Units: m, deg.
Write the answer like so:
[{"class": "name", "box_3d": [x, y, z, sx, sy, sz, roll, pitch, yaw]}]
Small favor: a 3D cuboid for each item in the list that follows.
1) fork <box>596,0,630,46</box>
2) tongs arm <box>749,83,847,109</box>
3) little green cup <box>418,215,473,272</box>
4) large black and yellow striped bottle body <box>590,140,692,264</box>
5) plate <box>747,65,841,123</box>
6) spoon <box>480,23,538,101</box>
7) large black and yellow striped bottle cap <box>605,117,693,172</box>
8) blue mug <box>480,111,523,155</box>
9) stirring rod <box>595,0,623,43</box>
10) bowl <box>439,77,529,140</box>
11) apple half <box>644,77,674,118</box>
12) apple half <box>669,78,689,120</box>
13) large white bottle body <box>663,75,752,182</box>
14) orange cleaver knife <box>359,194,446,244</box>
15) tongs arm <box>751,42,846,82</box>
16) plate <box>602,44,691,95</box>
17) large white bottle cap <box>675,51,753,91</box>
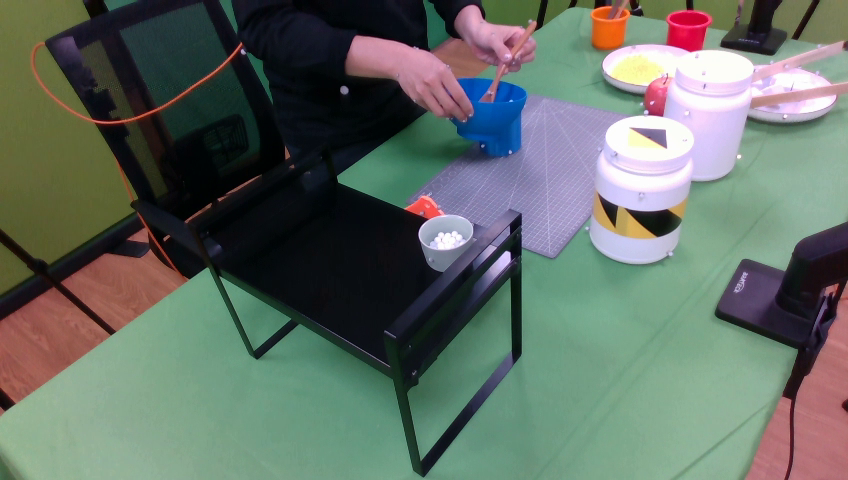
[{"class": "fork", "box_3d": [0.481, -0.556, 1.452, 0.028, 0.019, 0.207, 40, 103, 40]}, {"class": "tongs arm", "box_3d": [0.734, -0.280, 1.133, 0.388, 0.028, 0.028, -9, 47, -5]}, {"class": "little green cup", "box_3d": [0.026, 0.005, 0.678, 0.061, 0.039, 0.061, -4, 40, 4]}, {"class": "large black and yellow striped bottle body", "box_3d": [0.317, -0.071, 0.889, 0.131, 0.185, 0.130, -4, 41, 4]}, {"class": "plate", "box_3d": [0.694, -0.282, 1.189, 0.207, 0.039, 0.206, -4, 40, 4]}, {"class": "spoon", "box_3d": [0.137, -0.287, 1.035, 0.193, 0.022, 0.041, -58, 38, 10]}, {"class": "large black and yellow striped bottle cap", "box_3d": [0.309, -0.134, 0.833, 0.115, 0.019, 0.114, -5, 40, 5]}, {"class": "blue mug", "box_3d": [0.135, -0.235, 1.163, 0.082, 0.106, 0.115, -36, 48, -29]}, {"class": "stirring rod", "box_3d": [0.460, -0.556, 1.460, 0.014, 0.006, 0.176, 30, 93, 23]}, {"class": "bowl", "box_3d": [0.097, -0.220, 1.030, 0.151, 0.077, 0.151, 4, 29, -2]}, {"class": "apple half", "box_3d": [0.463, -0.279, 1.194, 0.053, 0.075, 0.081, 8, 46, 24]}, {"class": "apple half", "box_3d": [0.498, -0.273, 1.180, 0.032, 0.082, 0.081, 7, 42, 25]}, {"class": "large white bottle body", "box_3d": [0.472, -0.207, 1.022, 0.130, 0.185, 0.130, -4, 41, 4]}, {"class": "orange cleaver knife", "box_3d": [-0.032, -0.026, 0.965, 0.210, 0.077, 0.012, -9, 29, 51]}, {"class": "tongs arm", "box_3d": [0.708, -0.331, 1.193, 0.386, 0.026, 0.050, -18, 45, -16]}, {"class": "plate", "box_3d": [0.495, -0.367, 1.317, 0.209, 0.038, 0.208, -4, 40, 4]}, {"class": "large white bottle cap", "box_3d": [0.463, -0.271, 0.967, 0.115, 0.018, 0.114, -4, 40, 4]}]
